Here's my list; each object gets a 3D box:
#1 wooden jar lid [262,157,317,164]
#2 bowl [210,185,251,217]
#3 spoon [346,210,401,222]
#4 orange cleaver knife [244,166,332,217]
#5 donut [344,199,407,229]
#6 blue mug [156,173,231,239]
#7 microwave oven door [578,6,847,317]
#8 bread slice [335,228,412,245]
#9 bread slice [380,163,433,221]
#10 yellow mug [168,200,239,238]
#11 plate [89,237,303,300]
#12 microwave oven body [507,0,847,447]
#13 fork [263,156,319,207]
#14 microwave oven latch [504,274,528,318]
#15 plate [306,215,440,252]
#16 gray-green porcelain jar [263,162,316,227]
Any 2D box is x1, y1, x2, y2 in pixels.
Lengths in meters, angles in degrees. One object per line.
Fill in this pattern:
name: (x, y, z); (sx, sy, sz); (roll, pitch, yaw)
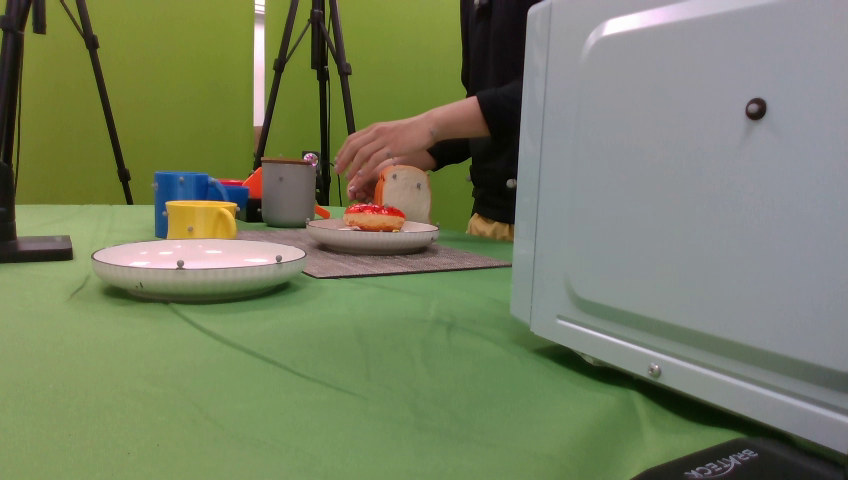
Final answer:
wooden jar lid: (-0.269, -0.154, 1.208); (0.108, 0.020, 0.108); (3, 4, 0)
bowl: (-0.408, -0.064, 1.155); (0.151, 0.077, 0.151); (2, 8, 0)
spoon: (-0.121, -0.059, 1.400); (0.042, 0.021, 0.192); (-28, 25, -37)
orange cleaver knife: (-0.301, -0.089, 1.351); (0.212, 0.077, 0.012); (32, -11, -34)
donut: (-0.076, -0.039, 0.949); (0.099, 0.048, 0.099); (3, 3, 0)
blue mug: (-0.381, -0.057, 1.004); (0.117, 0.106, 0.082); (0, 8, -12)
microwave oven door: (0.294, -0.067, 0.570); (0.358, 0.243, 0.039); (-3, 9, -31)
bread slice: (-0.074, -0.006, 0.938); (0.105, 0.019, 0.131); (-1, 5, -19)
bread slice: (-0.035, -0.076, 1.124); (0.107, 0.134, 0.018); (-3, 0, -26)
yellow mug: (-0.320, -0.023, 0.904); (0.130, 0.064, 0.100); (9, 11, 36)
plate: (-0.233, 0.029, 0.637); (0.208, 0.039, 0.207); (2, 7, 0)
microwave oven body: (0.331, -0.042, 0.425); (0.444, 0.260, 0.324); (-2, 8, -31)
fork: (-0.331, -0.144, 1.505); (0.207, 0.018, 0.028); (-42, -20, 22)
microwave oven latch: (0.100, 0.041, 0.471); (0.079, 0.029, 0.030); (-1, 8, -28)
plate: (-0.079, -0.011, 0.950); (0.209, 0.038, 0.209); (2, 8, 0)
gray-green porcelain jar: (-0.271, -0.092, 1.217); (0.106, 0.126, 0.106); (2, 7, 0)
